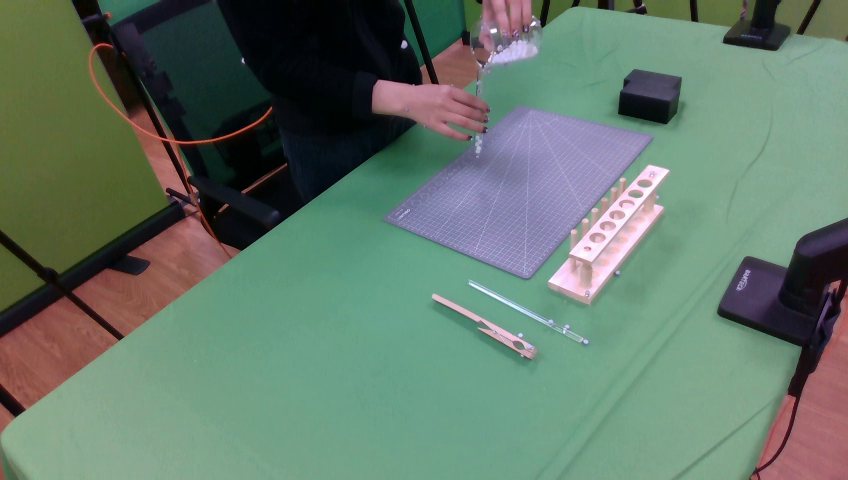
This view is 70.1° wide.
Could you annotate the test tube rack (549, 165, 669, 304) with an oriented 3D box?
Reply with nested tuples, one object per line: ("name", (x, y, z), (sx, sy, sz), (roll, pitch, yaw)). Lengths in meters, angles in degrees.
("test tube rack", (0.279, -0.018, 0.902), (0.066, 0.085, 0.243), (24, 50, 33))

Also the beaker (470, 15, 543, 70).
("beaker", (0.136, -0.323, 0.987), (0.101, 0.084, 0.073), (-16, 42, -20))

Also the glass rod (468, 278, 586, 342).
("glass rod", (0.140, 0.096, 0.853), (0.198, 0.008, 0.008), (27, 52, 35))

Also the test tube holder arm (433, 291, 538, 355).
("test tube holder arm", (0.081, 0.112, 0.832), (0.177, 0.015, 0.013), (29, 82, 36))

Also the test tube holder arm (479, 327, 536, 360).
("test tube holder arm", (0.110, 0.134, 0.805), (0.087, 0.015, 0.010), (29, 83, 36))

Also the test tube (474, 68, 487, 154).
("test tube", (0.095, -0.218, 1.033), (0.017, 0.150, 0.017), (0, 31, 0))
